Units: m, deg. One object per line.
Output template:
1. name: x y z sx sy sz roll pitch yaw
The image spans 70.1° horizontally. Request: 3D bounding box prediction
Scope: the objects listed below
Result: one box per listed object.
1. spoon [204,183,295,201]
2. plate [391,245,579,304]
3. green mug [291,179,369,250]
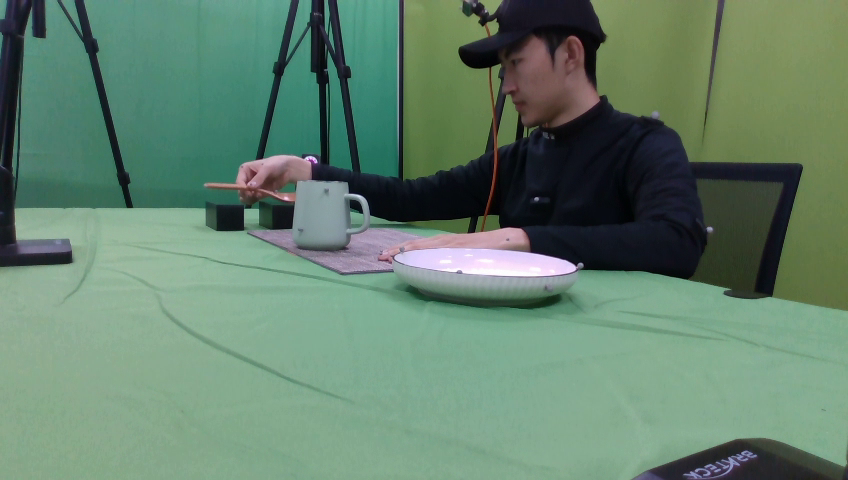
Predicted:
1. spoon: -0.336 -0.099 1.208 0.195 0.021 0.041 9 22 -28
2. plate: 0.066 0.038 0.683 0.209 0.038 0.209 2 7 0
3. green mug: -0.144 -0.040 0.944 0.125 0.105 0.093 4 7 16
